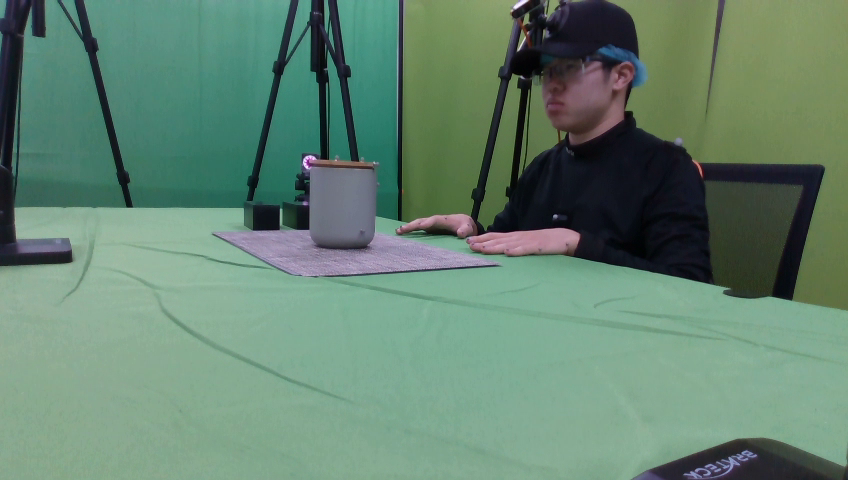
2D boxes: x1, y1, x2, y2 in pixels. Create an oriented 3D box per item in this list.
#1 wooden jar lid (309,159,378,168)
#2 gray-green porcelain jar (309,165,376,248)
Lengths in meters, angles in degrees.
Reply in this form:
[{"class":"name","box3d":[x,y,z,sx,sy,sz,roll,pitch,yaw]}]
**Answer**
[{"class":"wooden jar lid","box3d":[-0.128,-0.117,0.957,0.108,0.020,0.108,4,7,0]},{"class":"gray-green porcelain jar","box3d":[-0.130,-0.054,0.966,0.106,0.126,0.106,2,7,0]}]
